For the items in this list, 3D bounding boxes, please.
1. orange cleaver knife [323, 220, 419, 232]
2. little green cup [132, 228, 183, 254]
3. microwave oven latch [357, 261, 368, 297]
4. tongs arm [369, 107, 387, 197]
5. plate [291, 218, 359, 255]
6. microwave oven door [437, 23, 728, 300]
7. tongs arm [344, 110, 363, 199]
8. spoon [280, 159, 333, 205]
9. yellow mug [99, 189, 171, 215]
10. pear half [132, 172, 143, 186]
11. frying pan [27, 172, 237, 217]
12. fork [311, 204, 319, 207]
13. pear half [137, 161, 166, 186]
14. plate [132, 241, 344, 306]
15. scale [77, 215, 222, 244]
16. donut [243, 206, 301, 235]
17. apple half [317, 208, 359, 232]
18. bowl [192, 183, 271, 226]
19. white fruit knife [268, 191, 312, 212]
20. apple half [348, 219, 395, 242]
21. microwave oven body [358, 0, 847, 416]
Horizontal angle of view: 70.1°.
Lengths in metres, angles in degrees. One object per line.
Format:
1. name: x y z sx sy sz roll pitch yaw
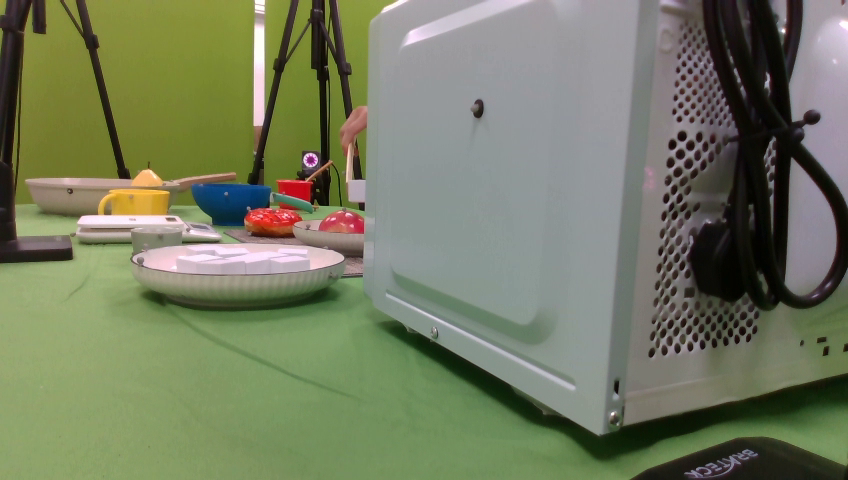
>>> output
1. orange cleaver knife: -0.097 -0.027 1.152 0.077 0.012 0.212 2 6 41
2. little green cup: -0.342 0.006 0.779 0.061 0.038 0.061 2 8 0
3. microwave oven latch: -0.019 0.033 0.531 0.079 0.029 0.030 -1 7 -27
4. tongs arm: -0.091 -0.162 1.037 0.051 0.026 0.384 -5 28 5
5. plate: -0.098 -0.007 0.928 0.209 0.038 0.209 2 7 0
6. microwave oven door: 0.180 -0.072 0.621 0.358 0.243 0.039 -2 8 -29
7. tongs arm: -0.114 -0.160 1.037 0.028 0.028 0.386 -10 28 3
8. spoon: -0.317 -0.159 1.640 0.194 0.022 0.041 -49 32 -20
9. yellow mug: -0.519 -0.055 1.080 0.099 0.064 0.131 7 9 26
10. pear half: -0.638 -0.113 1.361 0.031 0.088 0.070 5 11 4
11. frying pan: -0.624 -0.118 1.387 0.305 0.102 0.490 8 17 32
12. fork: -0.356 -0.105 1.526 0.208 0.018 0.028 16 -6 -41
13. pear half: -0.602 -0.120 1.354 0.056 0.110 0.076 4 11 6
14. plate: -0.187 0.033 0.625 0.208 0.039 0.207 2 8 0
15. scale: -0.434 -0.019 0.963 0.202 0.031 0.148 -1 9 -27
16. donut: -0.261 -0.032 1.043 0.099 0.048 0.099 4 9 0
17. apple half: -0.122 -0.020 0.900 0.080 0.053 0.075 3 10 15
18. bowl: -0.382 -0.071 1.202 0.151 0.077 0.151 3 7 0
19. white fruit knife: -0.364 -0.105 1.464 0.208 0.027 0.016 15 0 -34
20. apple half: -0.084 -0.018 0.967 0.081 0.033 0.081 4 9 0
21. microwave oven body: 0.211 -0.047 0.475 0.444 0.260 0.324 -1 7 -28
